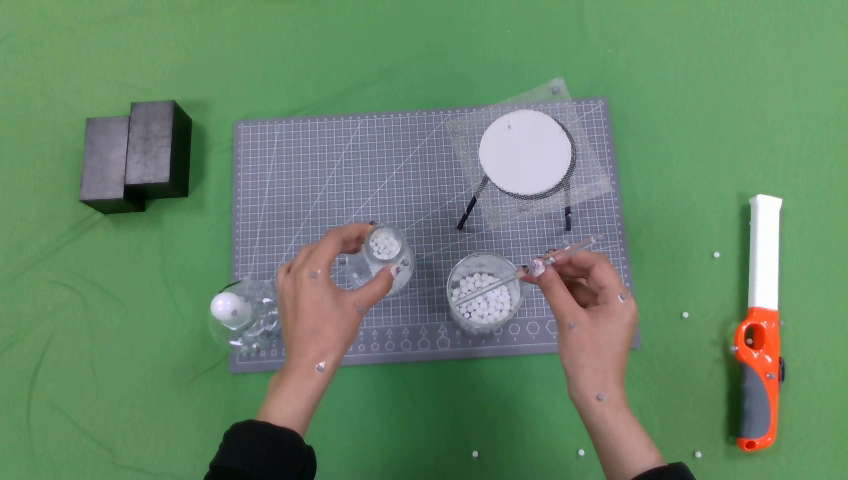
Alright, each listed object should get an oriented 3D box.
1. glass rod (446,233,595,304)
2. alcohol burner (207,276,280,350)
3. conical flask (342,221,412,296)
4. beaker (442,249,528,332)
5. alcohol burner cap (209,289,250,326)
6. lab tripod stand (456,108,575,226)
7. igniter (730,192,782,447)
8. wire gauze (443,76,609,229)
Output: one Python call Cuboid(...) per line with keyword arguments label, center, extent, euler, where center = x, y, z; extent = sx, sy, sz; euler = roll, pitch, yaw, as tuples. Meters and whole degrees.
Cuboid(label="glass rod", center=(0.078, 0.029, 0.547), extent=(0.008, 0.199, 0.008), euler=(15, 62, -30))
Cuboid(label="alcohol burner", center=(-0.190, 0.073, 0.622), extent=(0.078, 0.119, 0.077), euler=(0, 77, 0))
Cuboid(label="conical flask", center=(-0.044, 0.013, 0.597), extent=(0.075, 0.122, 0.075), euler=(1, 79, -7))
Cuboid(label="beaker", center=(0.060, 0.056, 0.627), extent=(0.084, 0.101, 0.073), euler=(-5, 76, 0))
Cuboid(label="alcohol burner cap", center=(-0.190, 0.063, 0.587), extent=(0.034, 0.048, 0.033), euler=(1, 74, -3))
Cuboid(label="lab tripod stand", center=(0.098, -0.066, 0.637), extent=(0.148, 0.132, 0.147), euler=(0, 78, 2))
Cuboid(label="igniter", center=(0.358, 0.082, 0.652), extent=(0.057, 0.025, 0.275), euler=(11, 77, -6))
Cuboid(label="wire gauze", center=(0.095, -0.083, 0.572), extent=(0.125, 0.011, 0.121), euler=(-20, 78, -2))
